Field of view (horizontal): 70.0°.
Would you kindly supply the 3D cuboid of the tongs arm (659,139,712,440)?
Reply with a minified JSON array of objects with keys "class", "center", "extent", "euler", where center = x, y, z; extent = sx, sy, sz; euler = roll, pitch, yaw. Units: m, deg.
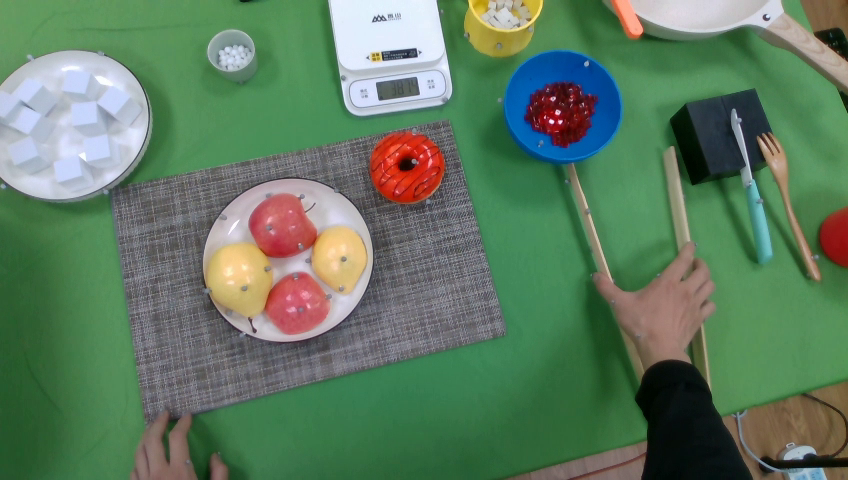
[{"class":"tongs arm","center":[0.333,0.056,0.782],"extent":[0.028,0.028,0.385],"euler":[-1,79,-11]}]

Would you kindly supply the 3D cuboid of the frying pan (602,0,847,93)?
[{"class":"frying pan","center":[0.423,-0.343,0.829],"extent":[0.306,0.103,0.485],"euler":[-40,75,-9]}]

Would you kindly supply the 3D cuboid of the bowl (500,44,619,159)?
[{"class":"bowl","center":[0.169,-0.168,0.794],"extent":[0.151,0.077,0.150],"euler":[1,79,-3]}]

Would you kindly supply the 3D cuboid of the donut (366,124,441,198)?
[{"class":"donut","center":[-0.027,-0.102,0.783],"extent":[0.099,0.048,0.098],"euler":[0,79,0]}]

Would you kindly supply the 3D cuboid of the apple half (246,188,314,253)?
[{"class":"apple half","center":[-0.181,-0.025,0.745],"extent":[0.075,0.053,0.080],"euler":[-25,83,-5]}]

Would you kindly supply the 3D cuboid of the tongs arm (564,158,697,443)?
[{"class":"tongs arm","center":[0.258,0.068,0.771],"extent":[0.051,0.026,0.383],"euler":[-13,80,-10]}]

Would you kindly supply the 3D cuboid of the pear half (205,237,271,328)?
[{"class":"pear half","center":[-0.217,0.051,0.722],"extent":[0.076,0.056,0.109],"euler":[-19,83,-16]}]

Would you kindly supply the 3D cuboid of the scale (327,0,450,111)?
[{"class":"scale","center":[-0.051,-0.281,0.830],"extent":[0.149,0.031,0.200],"euler":[-9,79,-4]}]

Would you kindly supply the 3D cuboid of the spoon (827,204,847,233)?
[{"class":"spoon","center":[0.578,0.010,0.742],"extent":[0.041,0.022,0.191],"euler":[-18,35,-7]}]

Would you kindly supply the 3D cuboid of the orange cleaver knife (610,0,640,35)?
[{"class":"orange cleaver knife","center":[0.248,-0.371,0.807],"extent":[0.077,0.012,0.210],"euler":[-23,80,-11]}]

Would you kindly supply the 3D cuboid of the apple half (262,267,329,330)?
[{"class":"apple half","center":[-0.160,0.069,0.734],"extent":[0.081,0.033,0.081],"euler":[0,70,-1]}]

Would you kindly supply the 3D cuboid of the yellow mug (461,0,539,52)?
[{"class":"yellow mug","center":[0.091,-0.329,0.830],"extent":[0.130,0.064,0.100],"euler":[43,80,7]}]

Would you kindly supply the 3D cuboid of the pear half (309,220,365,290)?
[{"class":"pear half","center":[-0.111,0.017,0.750],"extent":[0.070,0.031,0.087],"euler":[-14,76,8]}]

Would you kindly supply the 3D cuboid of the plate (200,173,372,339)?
[{"class":"plate","center":[-0.167,0.019,0.754],"extent":[0.209,0.038,0.208],"euler":[1,78,-3]}]

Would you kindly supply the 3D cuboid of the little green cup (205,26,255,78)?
[{"class":"little green cup","center":[-0.256,-0.249,0.810],"extent":[0.061,0.039,0.061],"euler":[1,78,-2]}]

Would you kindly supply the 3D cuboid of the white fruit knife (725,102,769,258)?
[{"class":"white fruit knife","center":[0.417,-0.077,0.786],"extent":[0.016,0.027,0.207],"euler":[-15,94,-6]}]

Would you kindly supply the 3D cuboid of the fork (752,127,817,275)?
[{"class":"fork","center":[0.473,-0.050,0.791],"extent":[0.028,0.018,0.207],"euler":[-23,95,-9]}]

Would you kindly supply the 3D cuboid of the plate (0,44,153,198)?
[{"class":"plate","center":[-0.452,-0.150,0.780],"extent":[0.208,0.039,0.206],"euler":[1,78,-3]}]
